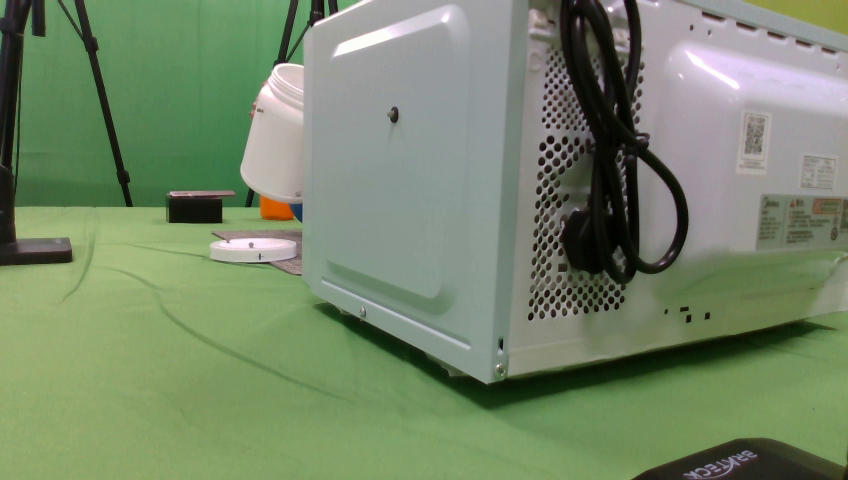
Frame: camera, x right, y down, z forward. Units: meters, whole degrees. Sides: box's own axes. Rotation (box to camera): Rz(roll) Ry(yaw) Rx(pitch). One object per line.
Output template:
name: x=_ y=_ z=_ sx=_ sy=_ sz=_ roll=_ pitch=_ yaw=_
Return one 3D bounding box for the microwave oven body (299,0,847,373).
microwave oven body: x=0.151 y=-0.055 z=0.542 sx=0.444 sy=0.260 sz=0.324 roll=-2 pitch=7 yaw=-33

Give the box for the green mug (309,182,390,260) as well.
green mug: x=-0.102 y=-0.029 z=0.864 sx=0.126 sy=0.105 sz=0.092 roll=-3 pitch=8 yaw=-40

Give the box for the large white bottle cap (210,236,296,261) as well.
large white bottle cap: x=-0.236 y=0.011 z=0.839 sx=0.115 sy=0.018 sz=0.115 roll=-1 pitch=10 yaw=0

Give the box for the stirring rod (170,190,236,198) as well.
stirring rod: x=-0.465 y=-0.098 z=1.283 sx=0.014 sy=0.006 sz=0.177 roll=42 pitch=21 yaw=17

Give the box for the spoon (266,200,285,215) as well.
spoon: x=-0.334 y=-0.128 z=1.423 sx=0.041 sy=0.193 sz=0.022 roll=0 pitch=-37 yaw=7

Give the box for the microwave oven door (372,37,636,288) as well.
microwave oven door: x=0.110 y=-0.080 z=0.687 sx=0.358 sy=0.243 sz=0.039 roll=-2 pitch=9 yaw=-33

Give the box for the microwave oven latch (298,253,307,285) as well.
microwave oven latch: x=-0.081 y=0.027 z=0.583 sx=0.079 sy=0.029 sz=0.030 roll=-2 pitch=8 yaw=-33

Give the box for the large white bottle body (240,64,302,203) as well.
large white bottle body: x=-0.201 y=-0.165 z=0.940 sx=0.131 sy=0.184 sz=0.130 roll=18 pitch=30 yaw=-11

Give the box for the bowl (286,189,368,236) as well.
bowl: x=-0.179 y=-0.051 z=1.115 sx=0.151 sy=0.077 sz=0.151 roll=3 pitch=8 yaw=0
